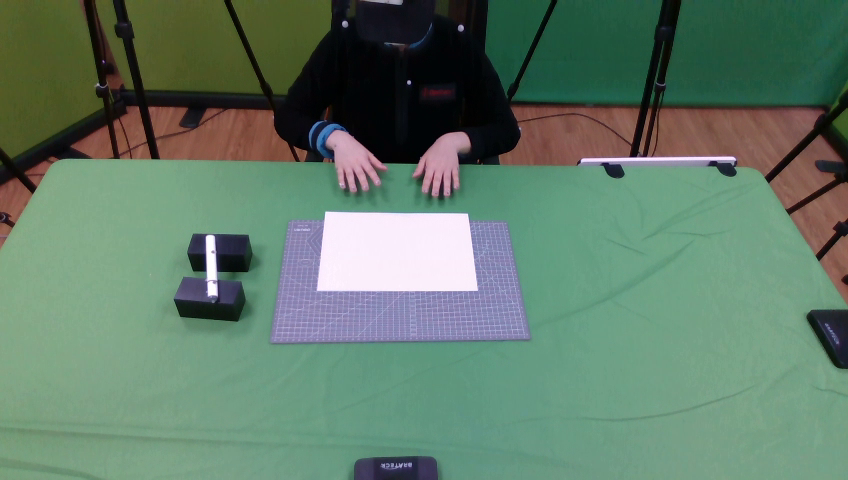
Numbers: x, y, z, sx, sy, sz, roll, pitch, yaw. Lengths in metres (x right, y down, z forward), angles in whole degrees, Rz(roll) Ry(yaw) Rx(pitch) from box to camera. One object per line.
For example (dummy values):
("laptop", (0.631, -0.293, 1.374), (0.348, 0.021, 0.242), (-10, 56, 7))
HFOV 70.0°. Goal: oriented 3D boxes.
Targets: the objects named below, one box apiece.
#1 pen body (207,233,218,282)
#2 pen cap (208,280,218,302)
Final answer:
("pen body", (-0.371, 0.042, 1.062), (0.017, 0.017, 0.143), (-9, 47, -12))
("pen cap", (-0.356, 0.086, 1.021), (0.017, 0.017, 0.038), (-9, 47, -12))
